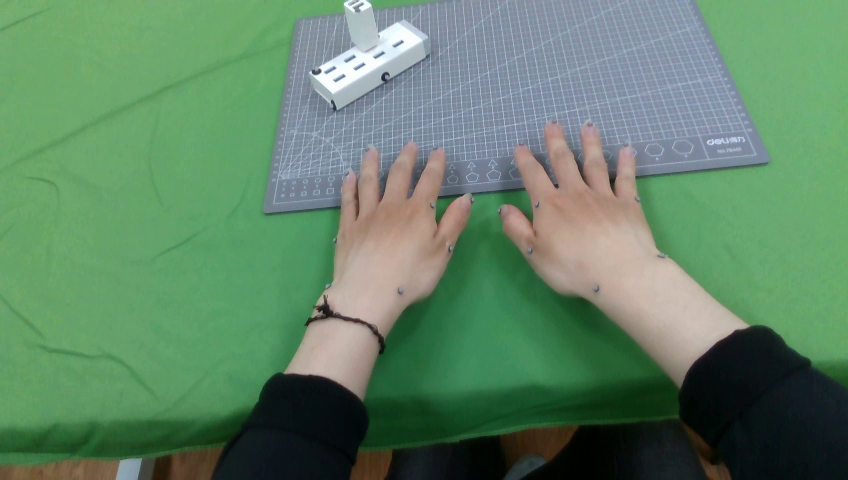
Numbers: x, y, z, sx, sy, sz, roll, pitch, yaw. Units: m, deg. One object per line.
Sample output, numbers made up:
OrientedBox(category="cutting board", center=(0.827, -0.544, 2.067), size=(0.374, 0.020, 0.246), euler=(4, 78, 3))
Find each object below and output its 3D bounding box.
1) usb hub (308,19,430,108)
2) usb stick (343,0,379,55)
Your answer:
OrientedBox(category="usb hub", center=(-0.058, -0.190, 0.644), size=(0.125, 0.025, 0.049), euler=(-35, 56, -16))
OrientedBox(category="usb stick", center=(-0.064, -0.219, 0.630), size=(0.021, 0.060, 0.027), euler=(-37, 55, -17))
